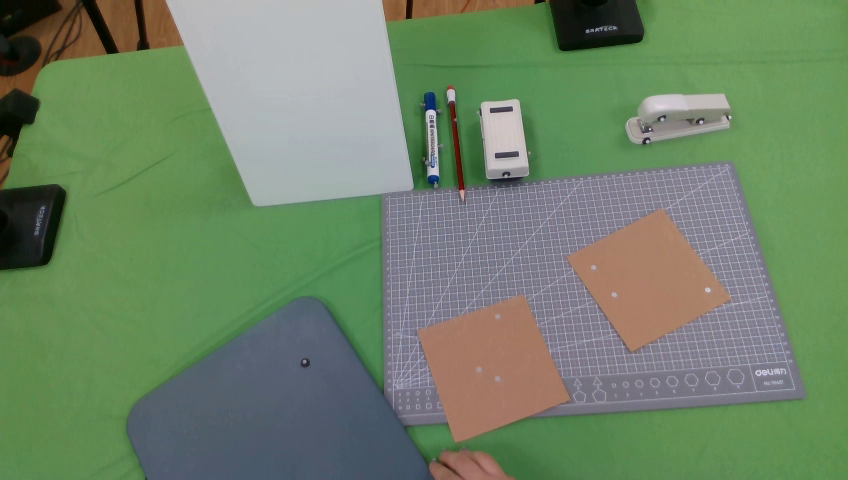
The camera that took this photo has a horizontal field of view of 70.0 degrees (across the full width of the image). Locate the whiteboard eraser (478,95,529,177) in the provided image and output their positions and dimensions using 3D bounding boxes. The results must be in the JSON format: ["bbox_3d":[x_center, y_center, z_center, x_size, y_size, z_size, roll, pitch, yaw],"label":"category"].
[{"bbox_3d":[0.103,-0.136,0.794,0.055,0.042,0.111,-6,64,5],"label":"whiteboard eraser"}]

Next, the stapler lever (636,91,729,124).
[{"bbox_3d":[0.330,-0.172,0.771,0.118,0.040,0.026,-10,66,0],"label":"stapler lever"}]

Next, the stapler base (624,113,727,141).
[{"bbox_3d":[0.331,-0.161,0.793,0.130,0.024,0.041,-10,66,-1],"label":"stapler base"}]

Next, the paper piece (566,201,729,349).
[{"bbox_3d":[0.259,0.038,0.710,0.136,0.009,0.137,-27,67,-2],"label":"paper piece"}]

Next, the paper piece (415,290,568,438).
[{"bbox_3d":[0.073,0.135,0.682,0.135,0.004,0.134,-18,64,-3],"label":"paper piece"}]

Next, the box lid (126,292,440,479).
[{"bbox_3d":[-0.144,0.252,0.649,0.263,0.015,0.368,-33,66,-10],"label":"box lid"}]

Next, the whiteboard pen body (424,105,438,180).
[{"bbox_3d":[0.009,-0.143,0.821,0.017,0.017,0.139,-4,64,4],"label":"whiteboard pen body"}]

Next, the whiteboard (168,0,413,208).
[{"bbox_3d":[-0.139,-0.210,0.742,0.217,0.308,0.142,-5,44,4],"label":"whiteboard"}]

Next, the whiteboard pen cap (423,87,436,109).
[{"bbox_3d":[0.008,-0.196,0.845,0.018,0.018,0.033,-6,62,3],"label":"whiteboard pen cap"}]

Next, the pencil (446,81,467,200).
[{"bbox_3d":[0.044,-0.138,0.818,0.012,0.012,0.192,-7,64,3],"label":"pencil"}]
